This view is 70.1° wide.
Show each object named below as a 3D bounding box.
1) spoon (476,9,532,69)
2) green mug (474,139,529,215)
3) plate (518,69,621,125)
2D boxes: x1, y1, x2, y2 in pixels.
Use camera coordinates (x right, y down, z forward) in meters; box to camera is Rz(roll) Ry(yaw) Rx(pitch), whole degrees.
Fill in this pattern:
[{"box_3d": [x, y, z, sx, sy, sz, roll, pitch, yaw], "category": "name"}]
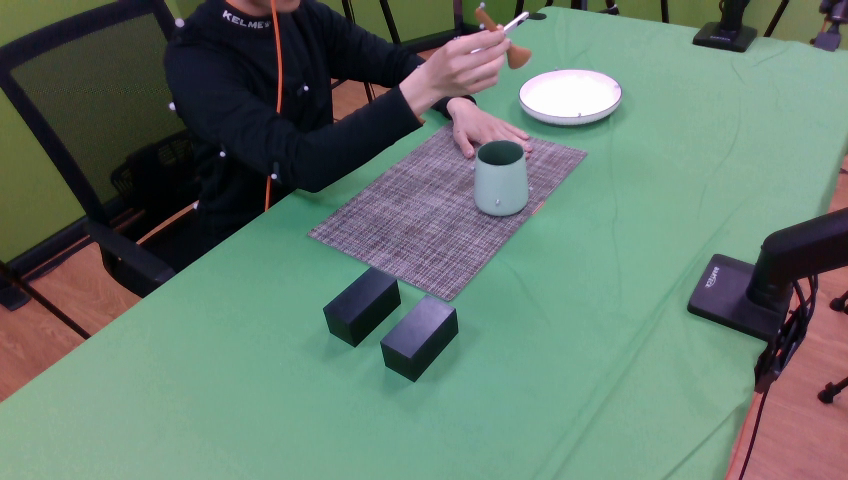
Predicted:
[{"box_3d": [0.116, -0.293, 0.888, 0.041, 0.195, 0.021, -34, 66, 22], "category": "spoon"}, {"box_3d": [0.126, -0.113, 1.013, 0.092, 0.105, 0.124, -8, 41, 0], "category": "green mug"}, {"box_3d": [0.300, -0.293, 1.253, 0.209, 0.038, 0.208, -4, 41, 4], "category": "plate"}]
